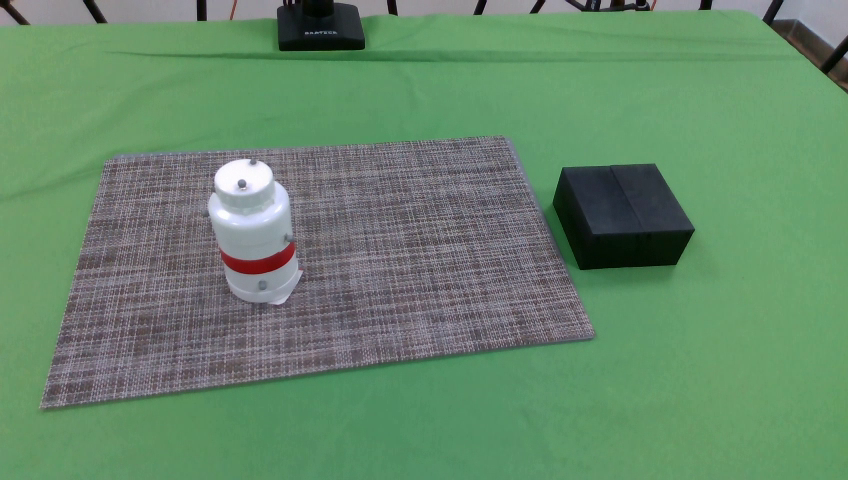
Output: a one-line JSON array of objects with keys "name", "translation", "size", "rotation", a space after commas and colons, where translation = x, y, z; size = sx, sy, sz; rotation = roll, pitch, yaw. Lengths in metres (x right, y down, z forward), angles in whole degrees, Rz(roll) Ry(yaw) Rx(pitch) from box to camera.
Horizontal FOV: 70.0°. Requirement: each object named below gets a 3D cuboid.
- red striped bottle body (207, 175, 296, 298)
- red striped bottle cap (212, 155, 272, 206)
[{"name": "red striped bottle body", "translation": [-0.144, -0.011, 0.511], "size": [0.063, 0.120, 0.062], "rotation": [3, 47, -3]}, {"name": "red striped bottle cap", "translation": [-0.142, -0.047, 0.472], "size": [0.044, 0.018, 0.044], "rotation": [5, 46, -5]}]
